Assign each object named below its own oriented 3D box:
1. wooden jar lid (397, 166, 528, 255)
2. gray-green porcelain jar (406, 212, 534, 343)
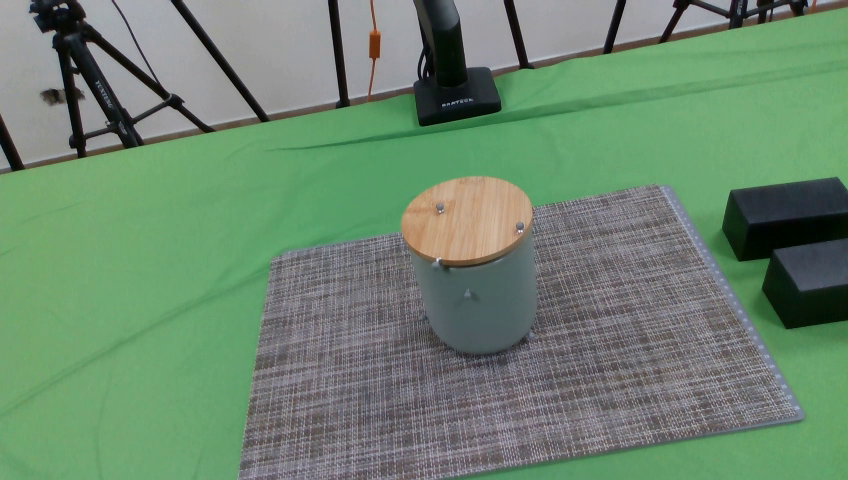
[{"bbox_3d":[0.032,-0.023,0.497,0.108,0.021,0.107,-6,43,6],"label":"wooden jar lid"},{"bbox_3d":[0.044,0.022,0.542,0.106,0.128,0.105,-7,44,7],"label":"gray-green porcelain jar"}]
